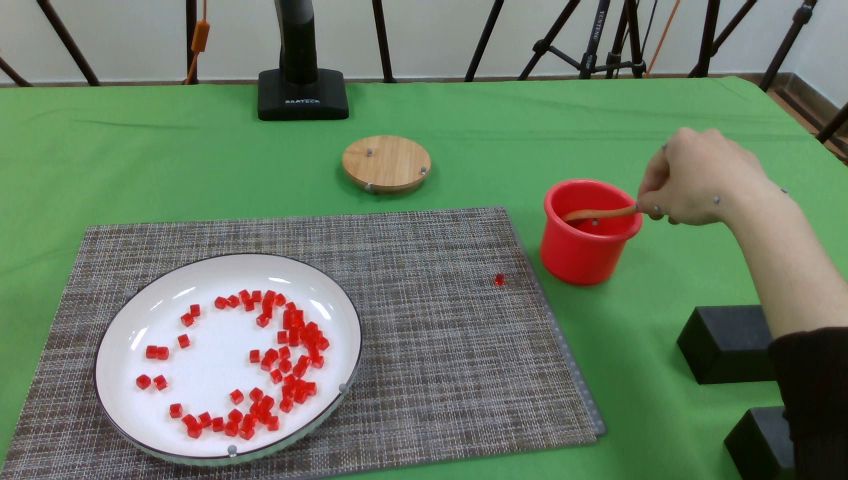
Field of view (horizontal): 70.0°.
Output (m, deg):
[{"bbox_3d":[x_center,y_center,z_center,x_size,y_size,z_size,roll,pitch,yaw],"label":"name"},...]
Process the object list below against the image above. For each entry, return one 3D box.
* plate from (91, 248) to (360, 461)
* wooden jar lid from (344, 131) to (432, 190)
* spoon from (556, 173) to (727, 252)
[{"bbox_3d":[-0.158,0.091,0.505,0.208,0.039,0.205,4,43,-3],"label":"plate"},{"bbox_3d":[-0.044,-0.096,0.740,0.108,0.021,0.107,4,44,-4],"label":"wooden jar lid"},{"bbox_3d":[0.202,-0.029,0.592,0.022,0.193,0.041,3,72,-41],"label":"spoon"}]
